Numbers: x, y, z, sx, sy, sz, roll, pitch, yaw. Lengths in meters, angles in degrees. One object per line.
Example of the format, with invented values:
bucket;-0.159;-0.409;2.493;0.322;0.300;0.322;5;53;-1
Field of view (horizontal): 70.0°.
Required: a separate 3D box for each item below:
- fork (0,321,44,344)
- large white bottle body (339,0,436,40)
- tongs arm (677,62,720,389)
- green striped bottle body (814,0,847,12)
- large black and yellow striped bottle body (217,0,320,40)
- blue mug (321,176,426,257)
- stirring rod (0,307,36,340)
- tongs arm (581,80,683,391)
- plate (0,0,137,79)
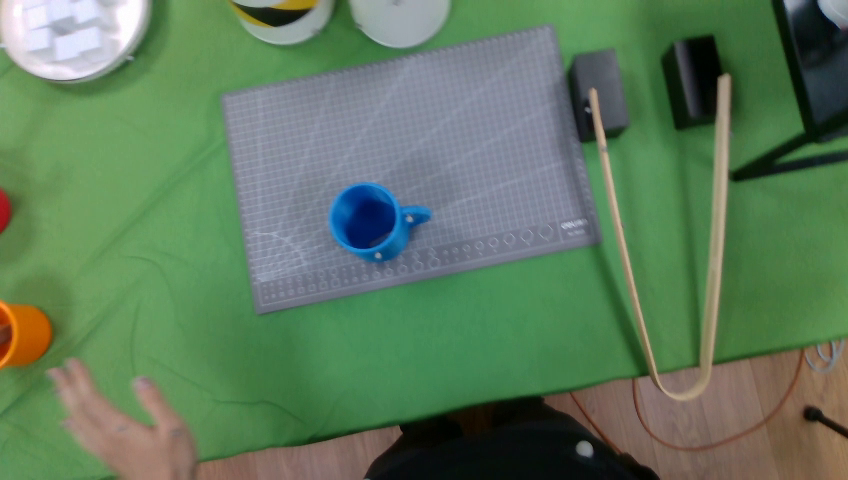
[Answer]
fork;-0.571;0.106;0.716;0.209;0.018;0.028;11;80;-40
large white bottle body;-0.052;-0.336;0.719;0.130;0.185;0.130;0;84;3
tongs arm;0.331;-0.014;0.723;0.028;0.027;0.387;2;94;-4
green striped bottle body;0.406;-0.261;0.541;0.063;0.119;0.063;0;83;3
large black and yellow striped bottle body;-0.207;-0.339;0.727;0.131;0.184;0.130;0;83;3
blue mug;-0.055;-0.029;0.725;0.116;0.106;0.082;-11;83;1
stirring rod;-0.540;0.138;0.717;0.014;0.006;0.175;34;44;3
tongs arm;0.249;-0.004;0.725;0.051;0.026;0.385;-12;93;0
plate;-0.482;-0.313;0.811;0.207;0.039;0.207;0;84;3
